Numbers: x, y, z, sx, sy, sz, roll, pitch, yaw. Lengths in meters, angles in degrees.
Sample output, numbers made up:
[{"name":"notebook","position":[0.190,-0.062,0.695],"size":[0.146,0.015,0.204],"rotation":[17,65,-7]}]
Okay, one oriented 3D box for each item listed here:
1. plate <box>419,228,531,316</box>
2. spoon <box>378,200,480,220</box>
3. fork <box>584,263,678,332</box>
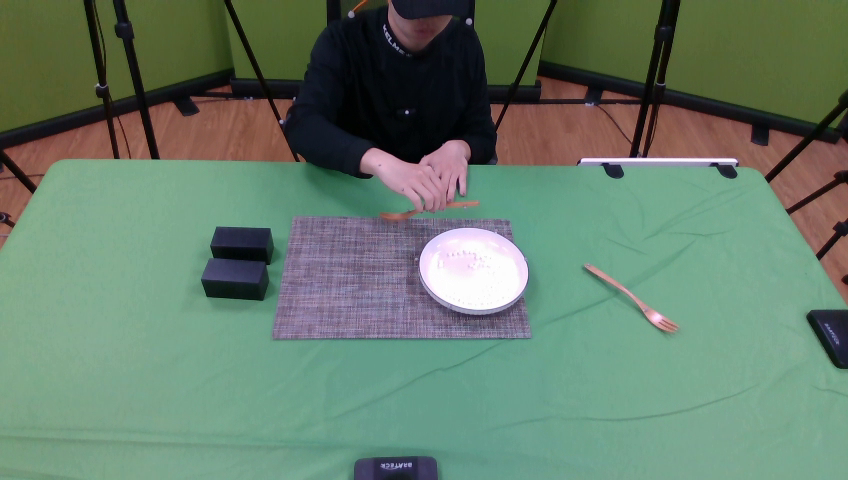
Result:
[{"name":"plate","position":[0.093,0.062,1.131],"size":[0.208,0.039,0.206],"rotation":[2,46,-2]},{"name":"spoon","position":[0.010,-0.059,1.144],"size":[0.194,0.022,0.041],"rotation":[-11,12,1]},{"name":"fork","position":[0.380,0.103,1.130],"size":[0.028,0.019,0.206],"rotation":[-34,58,-23]}]
